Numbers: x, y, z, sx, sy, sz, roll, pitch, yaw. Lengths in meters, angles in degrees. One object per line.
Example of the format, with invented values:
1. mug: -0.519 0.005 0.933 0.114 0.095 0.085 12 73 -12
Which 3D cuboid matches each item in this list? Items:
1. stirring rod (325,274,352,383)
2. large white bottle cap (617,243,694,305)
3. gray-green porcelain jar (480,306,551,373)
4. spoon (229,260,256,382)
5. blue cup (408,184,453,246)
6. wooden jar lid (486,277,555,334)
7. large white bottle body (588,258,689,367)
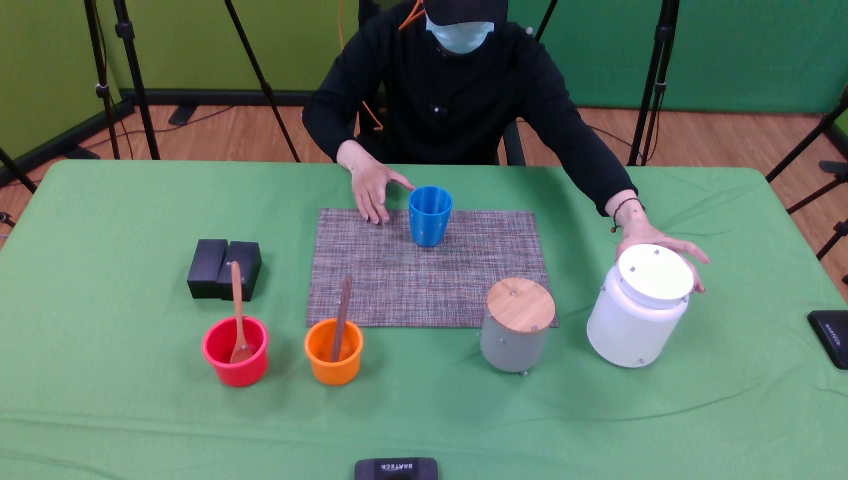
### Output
1. stirring rod: -0.137 0.142 0.972 0.014 0.006 0.176 10 89 0
2. large white bottle cap: 0.359 0.050 0.941 0.115 0.018 0.114 2 47 -2
3. gray-green porcelain jar: 0.148 0.148 0.992 0.106 0.127 0.105 2 46 -2
4. spoon: -0.294 0.129 0.966 0.042 0.021 0.193 -4 91 -8
5. blue cup: 0.008 -0.042 1.177 0.093 0.101 0.092 3 47 -3
6. wooden jar lid: 0.150 0.105 0.948 0.108 0.021 0.107 3 47 -3
7. large white bottle body: 0.355 0.109 1.002 0.131 0.185 0.130 2 46 -1
